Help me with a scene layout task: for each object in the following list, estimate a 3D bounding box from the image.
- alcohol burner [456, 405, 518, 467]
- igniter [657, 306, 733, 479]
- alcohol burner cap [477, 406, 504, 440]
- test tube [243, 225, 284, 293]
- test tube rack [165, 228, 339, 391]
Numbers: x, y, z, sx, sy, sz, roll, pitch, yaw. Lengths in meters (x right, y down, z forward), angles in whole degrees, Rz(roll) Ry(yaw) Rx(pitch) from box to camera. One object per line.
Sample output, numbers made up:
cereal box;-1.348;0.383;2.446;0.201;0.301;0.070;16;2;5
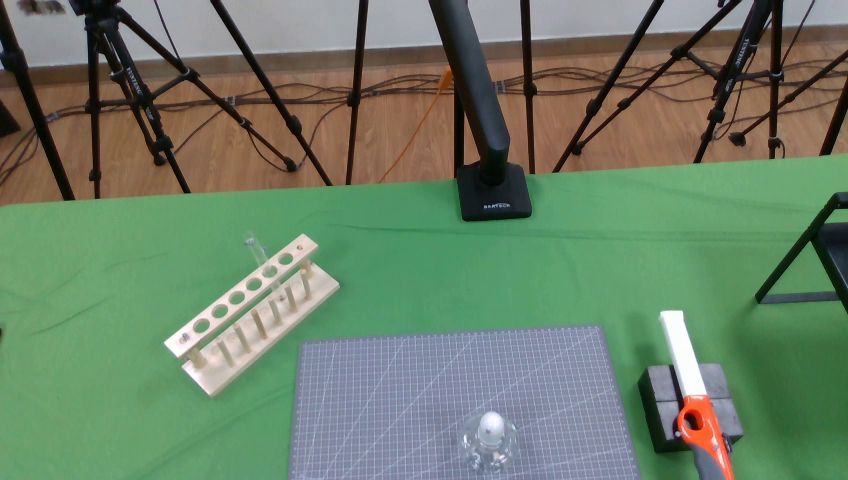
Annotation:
alcohol burner;0.080;0.237;0.752;0.078;0.120;0.077;1;52;-1
igniter;0.344;0.204;0.773;0.057;0.025;0.274;-1;52;2
alcohol burner cap;0.080;0.216;0.723;0.034;0.048;0.033;-2;56;4
test tube;-0.226;0.031;0.862;0.017;0.152;0.017;-3;52;5
test tube rack;-0.239;0.097;0.875;0.066;0.086;0.242;36;62;24
